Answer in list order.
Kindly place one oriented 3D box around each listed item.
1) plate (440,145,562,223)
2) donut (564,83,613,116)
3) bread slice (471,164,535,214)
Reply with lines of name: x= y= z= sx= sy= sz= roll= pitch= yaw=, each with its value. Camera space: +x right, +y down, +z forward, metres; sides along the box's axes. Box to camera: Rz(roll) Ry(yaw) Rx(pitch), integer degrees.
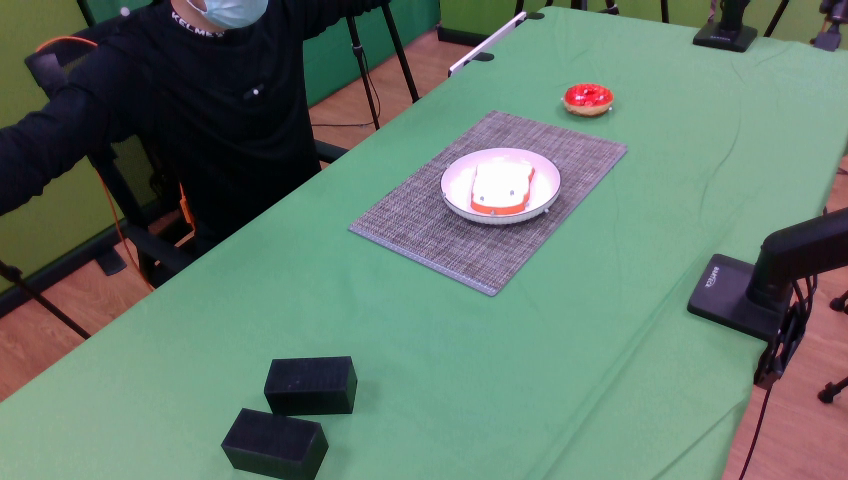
plate: x=0.131 y=-0.093 z=1.040 sx=0.207 sy=0.039 sz=0.206 roll=-4 pitch=41 yaw=4
donut: x=0.336 y=-0.288 z=1.239 sx=0.099 sy=0.048 sz=0.098 roll=-3 pitch=38 yaw=3
bread slice: x=0.134 y=-0.090 z=1.038 sx=0.104 sy=0.019 sz=0.131 roll=3 pitch=41 yaw=13
